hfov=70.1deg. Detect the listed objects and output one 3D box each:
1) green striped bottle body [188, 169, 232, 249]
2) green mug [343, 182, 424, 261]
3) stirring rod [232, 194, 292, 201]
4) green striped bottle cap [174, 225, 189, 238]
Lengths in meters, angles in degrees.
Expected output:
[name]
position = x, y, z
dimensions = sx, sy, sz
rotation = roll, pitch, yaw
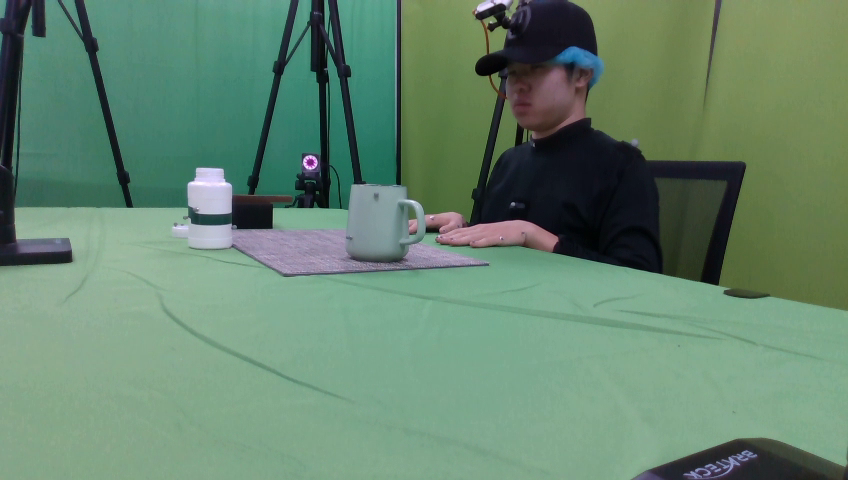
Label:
[green striped bottle body]
position = -0.324, -0.049, 0.919
dimensions = 0.063, 0.119, 0.063
rotation = 2, 8, 0
[green mug]
position = -0.053, -0.026, 0.849
dimensions = 0.125, 0.105, 0.093
rotation = 7, 8, 33
[stirring rod]
position = -0.353, -0.085, 1.216
dimensions = 0.177, 0.014, 0.006
rotation = -1, 13, -27
[green striped bottle cap]
position = -0.404, -0.015, 1.036
dimensions = 0.044, 0.020, 0.044
rotation = -2, 8, 1
